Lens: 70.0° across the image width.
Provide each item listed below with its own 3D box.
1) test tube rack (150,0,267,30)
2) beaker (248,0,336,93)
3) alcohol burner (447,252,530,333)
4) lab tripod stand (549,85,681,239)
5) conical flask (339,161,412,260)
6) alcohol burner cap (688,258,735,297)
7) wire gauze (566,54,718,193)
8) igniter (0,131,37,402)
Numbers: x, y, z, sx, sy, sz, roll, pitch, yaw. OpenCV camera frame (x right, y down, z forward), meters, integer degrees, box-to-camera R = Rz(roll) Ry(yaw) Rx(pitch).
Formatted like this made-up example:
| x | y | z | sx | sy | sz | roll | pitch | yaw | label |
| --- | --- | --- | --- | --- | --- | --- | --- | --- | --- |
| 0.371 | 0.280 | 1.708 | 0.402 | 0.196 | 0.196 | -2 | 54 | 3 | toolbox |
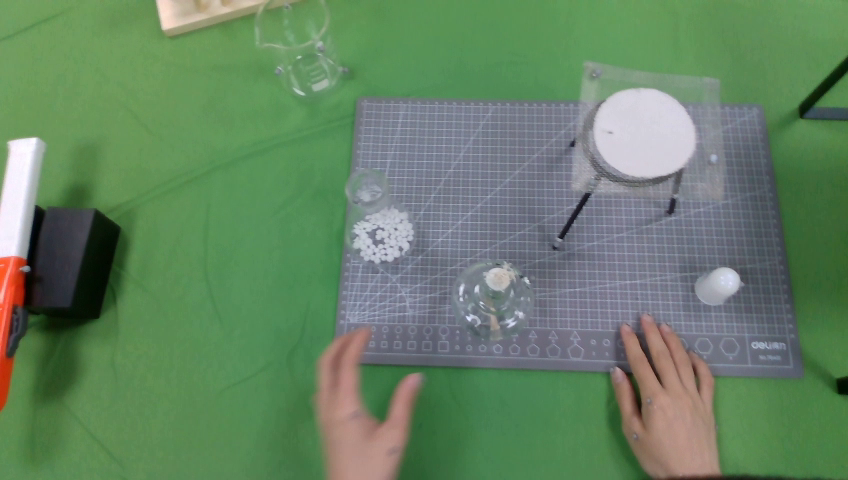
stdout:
| x | y | z | sx | sy | sz | roll | pitch | yaw | label |
| --- | --- | --- | --- | --- | --- | --- | --- | --- | --- |
| -0.209 | -0.327 | 0.696 | 0.242 | 0.085 | 0.066 | -18 | 72 | -5 | test tube rack |
| -0.138 | -0.211 | 0.649 | 0.084 | 0.101 | 0.073 | -39 | 74 | -11 | beaker |
| 0.060 | 0.043 | 0.550 | 0.078 | 0.120 | 0.077 | 0 | 70 | 0 | alcohol burner |
| 0.179 | -0.073 | 0.575 | 0.148 | 0.132 | 0.147 | 0 | 70 | 0 | lab tripod stand |
| -0.051 | -0.032 | 0.572 | 0.075 | 0.122 | 0.075 | 0 | 71 | 2 | conical flask |
| 0.280 | 0.034 | 0.585 | 0.034 | 0.048 | 0.033 | -1 | 72 | 2 | alcohol burner cap |
| 0.185 | -0.099 | 0.512 | 0.121 | 0.011 | 0.124 | 7 | 72 | 2 | wire gauze |
| -0.396 | 0.024 | 0.565 | 0.057 | 0.025 | 0.274 | -7 | 71 | 4 | igniter |
